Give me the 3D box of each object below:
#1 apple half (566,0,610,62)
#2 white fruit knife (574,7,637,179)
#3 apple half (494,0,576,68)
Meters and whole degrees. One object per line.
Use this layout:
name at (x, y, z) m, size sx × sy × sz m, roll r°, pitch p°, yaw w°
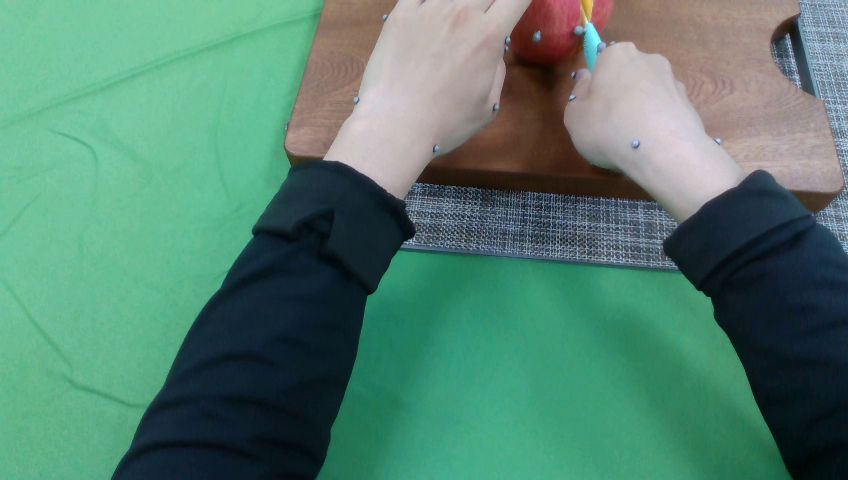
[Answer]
apple half at (0.122, -0.179, 0.465) m, size 0.033 × 0.082 × 0.080 m, roll -10°, pitch 61°, yaw -6°
white fruit knife at (0.115, -0.140, 0.437) m, size 0.016 × 0.027 × 0.205 m, roll -10°, pitch 68°, yaw -4°
apple half at (0.081, -0.172, 0.462) m, size 0.053 × 0.075 × 0.080 m, roll -10°, pitch 64°, yaw 2°
